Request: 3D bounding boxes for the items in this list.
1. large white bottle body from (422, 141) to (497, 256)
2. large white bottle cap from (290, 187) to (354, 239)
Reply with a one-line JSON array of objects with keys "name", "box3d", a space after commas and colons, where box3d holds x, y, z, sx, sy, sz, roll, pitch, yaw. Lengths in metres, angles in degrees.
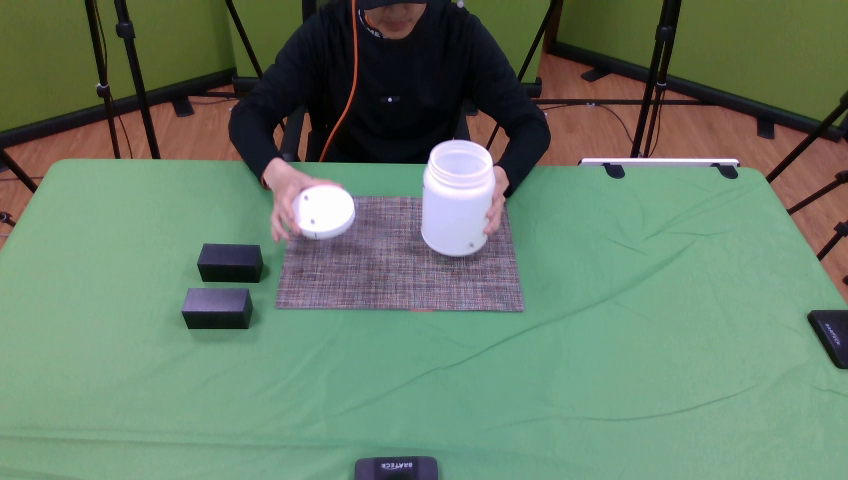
[{"name": "large white bottle body", "box3d": [0.064, -0.076, 1.113, 0.131, 0.185, 0.130, 1, 44, -1]}, {"name": "large white bottle cap", "box3d": [-0.182, -0.050, 1.086, 0.115, 0.018, 0.114, 0, 49, 0]}]
